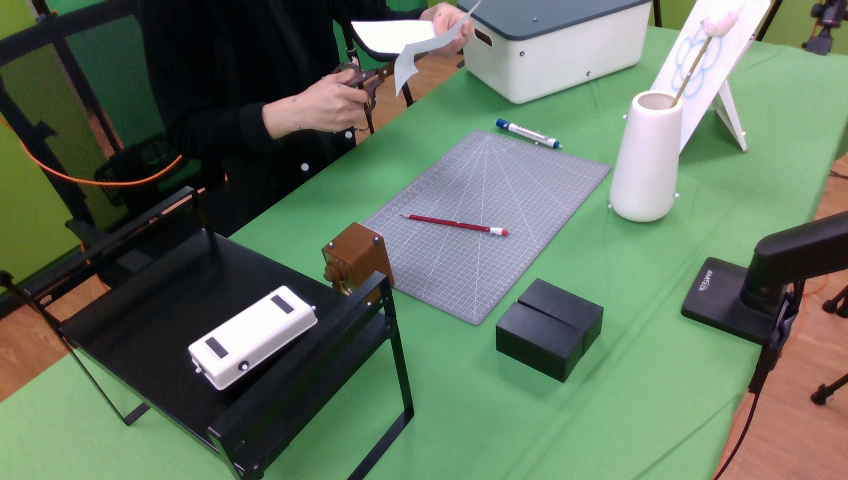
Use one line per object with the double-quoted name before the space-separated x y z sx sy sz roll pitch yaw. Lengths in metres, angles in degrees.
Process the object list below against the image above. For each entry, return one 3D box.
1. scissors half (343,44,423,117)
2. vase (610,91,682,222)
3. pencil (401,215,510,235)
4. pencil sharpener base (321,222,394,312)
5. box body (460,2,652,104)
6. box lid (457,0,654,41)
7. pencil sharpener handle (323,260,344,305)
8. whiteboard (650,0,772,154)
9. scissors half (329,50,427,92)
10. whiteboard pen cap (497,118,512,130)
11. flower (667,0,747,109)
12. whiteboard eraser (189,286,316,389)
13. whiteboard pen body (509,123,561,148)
"scissors half" -0.061 -0.240 0.912 0.174 0.040 0.013 -35 7 36
"vase" 0.348 -0.125 0.935 0.098 0.201 0.097 -3 40 3
"pencil" 0.049 -0.027 1.007 0.193 0.012 0.012 10 43 21
"pencil sharpener base" -0.096 0.041 0.873 0.061 0.107 0.077 26 54 32
"box body" 0.291 -0.465 1.371 0.365 0.161 0.252 -22 42 -16
"box lid" 0.285 -0.522 1.323 0.373 0.015 0.261 -22 43 -16
"pencil sharpener handle" -0.131 0.062 0.839 0.035 0.068 0.031 29 55 28
"whiteboard" 0.543 -0.298 1.076 0.144 0.305 0.216 12 40 -7
"scissors half" -0.072 -0.258 0.906 0.174 0.040 0.013 -7 27 28
"whiteboard pen cap" 0.165 -0.235 1.227 0.033 0.018 0.018 31 53 31
"flower" 0.354 -0.187 0.879 0.038 0.362 0.044 30 48 14
"whiteboard eraser" -0.166 0.096 0.593 0.113 0.042 0.055 -36 47 -29
"whiteboard pen body" 0.208 -0.211 1.195 0.139 0.017 0.017 30 52 33
